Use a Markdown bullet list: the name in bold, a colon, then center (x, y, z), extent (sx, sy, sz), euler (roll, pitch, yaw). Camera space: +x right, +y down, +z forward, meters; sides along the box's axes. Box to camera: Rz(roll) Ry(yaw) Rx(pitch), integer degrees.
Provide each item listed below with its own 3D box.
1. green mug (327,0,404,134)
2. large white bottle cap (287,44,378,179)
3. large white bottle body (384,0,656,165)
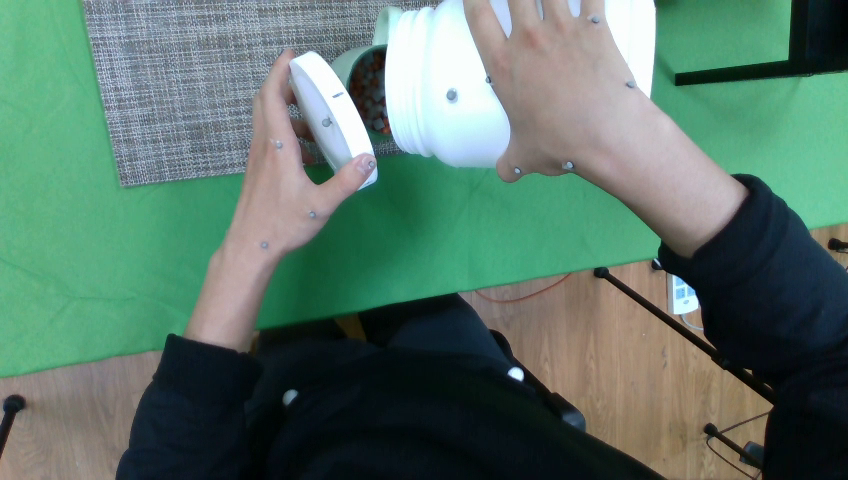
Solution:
- **green mug**: center (-0.043, -0.163, 0.570), extent (0.093, 0.104, 0.125), euler (8, 99, -19)
- **large white bottle cap**: center (-0.074, -0.103, 0.495), extent (0.018, 0.114, 0.115), euler (-33, 109, -12)
- **large white bottle body**: center (0.073, -0.125, 0.464), extent (0.184, 0.130, 0.131), euler (4, 102, 15)
